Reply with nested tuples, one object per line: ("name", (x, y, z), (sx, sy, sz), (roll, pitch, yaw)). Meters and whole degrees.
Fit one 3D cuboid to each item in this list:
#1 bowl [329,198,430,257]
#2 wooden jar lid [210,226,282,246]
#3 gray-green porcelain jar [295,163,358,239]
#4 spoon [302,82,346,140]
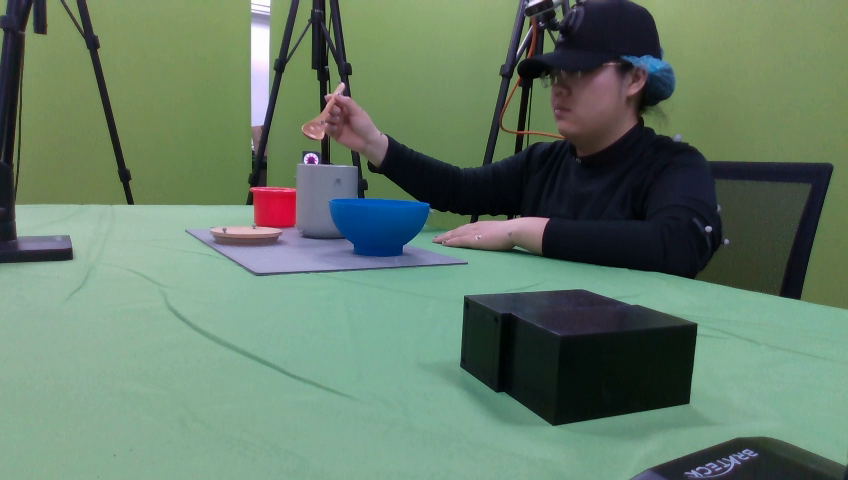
("bowl", (-0.067, -0.019, 0.895), (0.151, 0.077, 0.151), (3, 7, 0))
("wooden jar lid", (-0.279, -0.007, 0.951), (0.108, 0.020, 0.108), (2, 8, 0))
("gray-green porcelain jar", (-0.170, -0.069, 1.054), (0.106, 0.126, 0.106), (3, 7, 0))
("spoon", (-0.180, -0.246, 1.136), (0.042, 0.021, 0.193), (27, 49, -8))
